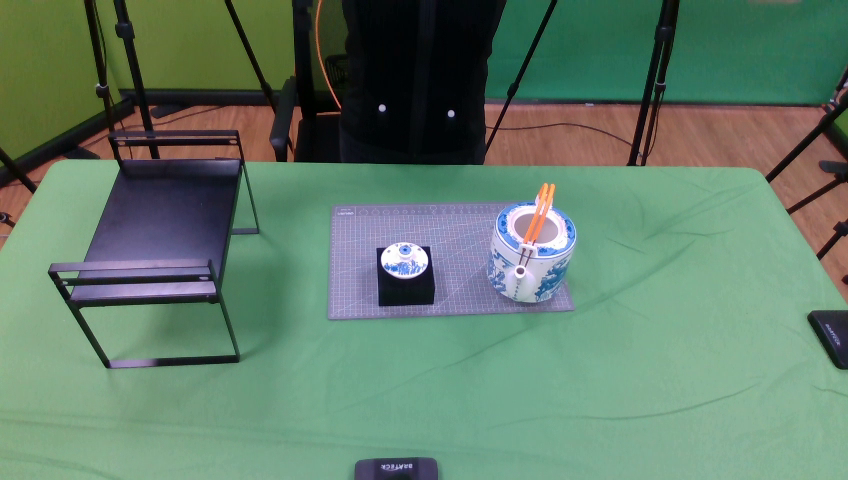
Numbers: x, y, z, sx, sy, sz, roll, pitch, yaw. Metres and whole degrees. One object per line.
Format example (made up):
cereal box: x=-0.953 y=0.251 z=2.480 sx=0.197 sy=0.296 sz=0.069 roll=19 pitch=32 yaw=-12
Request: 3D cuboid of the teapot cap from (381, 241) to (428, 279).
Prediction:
teapot cap: x=-0.034 y=0.031 z=1.075 sx=0.085 sy=0.044 sz=0.084 roll=2 pitch=49 yaw=-2

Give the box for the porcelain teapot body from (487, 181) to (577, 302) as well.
porcelain teapot body: x=0.185 y=0.018 z=1.048 sx=0.145 sy=0.226 sz=0.204 roll=15 pitch=48 yaw=10
